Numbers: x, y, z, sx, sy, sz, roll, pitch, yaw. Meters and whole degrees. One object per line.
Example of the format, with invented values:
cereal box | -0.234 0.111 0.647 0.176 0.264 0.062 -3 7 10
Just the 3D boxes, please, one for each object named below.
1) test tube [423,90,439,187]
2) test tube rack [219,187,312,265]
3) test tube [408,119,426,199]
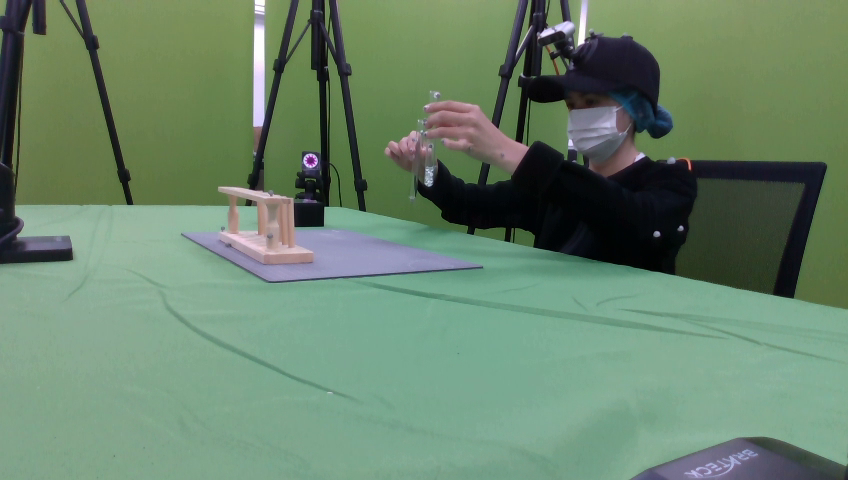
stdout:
test tube | 0.011 -0.158 0.945 0.017 0.150 0.017 4 15 -1
test tube rack | -0.235 -0.027 0.872 0.067 0.085 0.241 -2 8 -31
test tube | -0.014 -0.146 1.107 0.017 0.150 0.017 7 22 -3
